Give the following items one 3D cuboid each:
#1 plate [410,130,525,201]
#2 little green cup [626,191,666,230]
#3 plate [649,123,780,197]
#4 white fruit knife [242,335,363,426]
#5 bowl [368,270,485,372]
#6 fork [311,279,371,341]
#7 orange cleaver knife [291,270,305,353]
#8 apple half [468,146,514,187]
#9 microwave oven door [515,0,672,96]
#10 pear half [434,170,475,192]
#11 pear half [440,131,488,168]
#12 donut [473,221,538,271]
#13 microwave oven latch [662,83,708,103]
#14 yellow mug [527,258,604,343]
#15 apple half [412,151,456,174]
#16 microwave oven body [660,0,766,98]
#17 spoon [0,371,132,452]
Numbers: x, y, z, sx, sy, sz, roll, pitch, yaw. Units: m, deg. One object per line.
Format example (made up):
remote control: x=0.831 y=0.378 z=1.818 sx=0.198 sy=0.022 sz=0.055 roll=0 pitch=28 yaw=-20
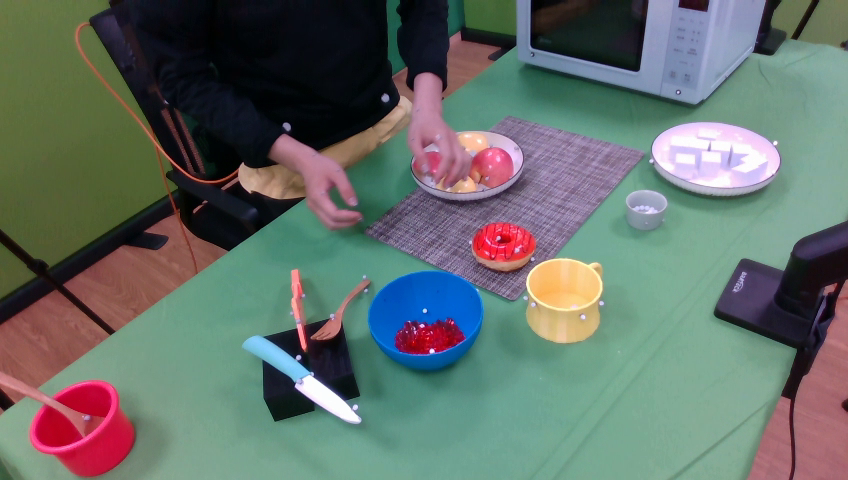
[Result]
plate: x=0.078 y=-0.133 z=1.101 sx=0.209 sy=0.038 sz=0.208 roll=-4 pitch=40 yaw=4
little green cup: x=0.352 y=-0.046 z=0.963 sx=0.061 sy=0.039 sz=0.061 roll=-4 pitch=40 yaw=4
plate: x=0.497 y=-0.135 z=1.046 sx=0.207 sy=0.039 sz=0.206 roll=-4 pitch=40 yaw=4
white fruit knife: x=-0.148 y=0.167 z=0.730 sx=0.206 sy=0.016 sz=0.027 roll=26 pitch=80 yaw=31
bowl: x=0.007 y=0.118 z=0.791 sx=0.151 sy=0.077 sz=0.150 roll=-5 pitch=40 yaw=4
fork: x=-0.108 y=0.092 z=0.832 sx=0.028 sy=0.019 sz=0.207 roll=-6 pitch=19 yaw=15
orange cleaver knife: x=-0.175 y=0.094 z=0.844 sx=0.012 sy=0.077 sz=0.210 roll=-11 pitch=14 yaw=-10
apple half: x=0.120 y=-0.137 z=1.073 sx=0.080 sy=0.053 sz=0.075 roll=25 pitch=49 yaw=38
microwave oven door: x=0.343 y=-0.455 z=1.259 sx=0.353 sy=0.245 sz=0.039 roll=26 pitch=51 yaw=33
pear half: x=0.052 y=-0.105 z=1.052 sx=0.071 sy=0.031 sz=0.087 roll=-6 pitch=33 yaw=-30
pear half: x=0.064 y=-0.173 z=1.129 sx=0.110 sy=0.056 sz=0.076 roll=-7 pitch=35 yaw=4
donut: x=0.123 y=0.008 z=0.923 sx=0.099 sy=0.048 sz=0.098 roll=-3 pitch=38 yaw=3
microwave oven latch: x=0.517 y=-0.296 z=1.204 sx=0.078 sy=0.029 sz=0.030 roll=28 pitch=52 yaw=35
yellow mug: x=0.202 y=0.073 z=0.824 sx=0.131 sy=0.064 sz=0.099 roll=-32 pitch=46 yaw=-27
apple half: x=0.022 y=-0.144 z=1.097 sx=0.081 sy=0.033 sz=0.081 roll=6 pitch=21 yaw=-2
microwave oven body: x=0.472 y=-0.513 z=1.317 sx=0.438 sy=0.261 sz=0.327 roll=26 pitch=51 yaw=34
spoon: x=-0.439 y=0.195 z=0.715 sx=0.195 sy=0.021 sz=0.041 roll=38 pitch=41 yaw=-16
